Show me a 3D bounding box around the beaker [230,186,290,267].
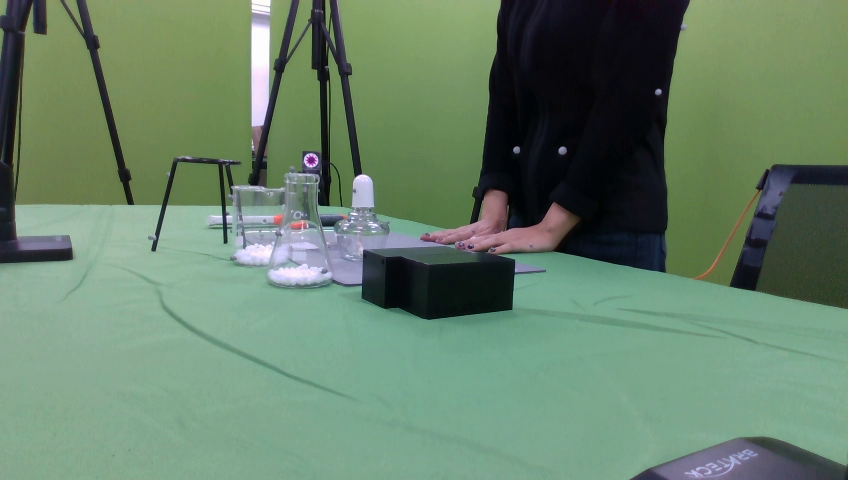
[{"bbox_3d":[-0.209,-0.019,0.778,0.074,0.100,0.084,3,7,4],"label":"beaker"}]

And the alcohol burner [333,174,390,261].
[{"bbox_3d":[-0.085,-0.031,0.832,0.078,0.119,0.078,3,5,0],"label":"alcohol burner"}]

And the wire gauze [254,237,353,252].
[{"bbox_3d":[-0.188,0.004,0.940,0.122,0.011,0.124,-2,6,-34],"label":"wire gauze"}]

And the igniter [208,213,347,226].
[{"bbox_3d":[-0.283,-0.040,1.200,0.278,0.025,0.057,-2,-2,-34],"label":"igniter"}]

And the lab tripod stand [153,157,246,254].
[{"bbox_3d":[-0.305,-0.051,0.865,0.148,0.131,0.148,4,7,0],"label":"lab tripod stand"}]

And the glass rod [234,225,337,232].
[{"bbox_3d":[-0.256,-0.022,1.136,0.201,0.008,0.008,-3,8,-33],"label":"glass rod"}]

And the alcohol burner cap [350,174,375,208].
[{"bbox_3d":[-0.085,-0.067,0.829,0.034,0.048,0.034,0,2,0],"label":"alcohol burner cap"}]

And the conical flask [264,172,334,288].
[{"bbox_3d":[-0.136,-0.013,0.660,0.075,0.122,0.075,2,7,0],"label":"conical flask"}]
